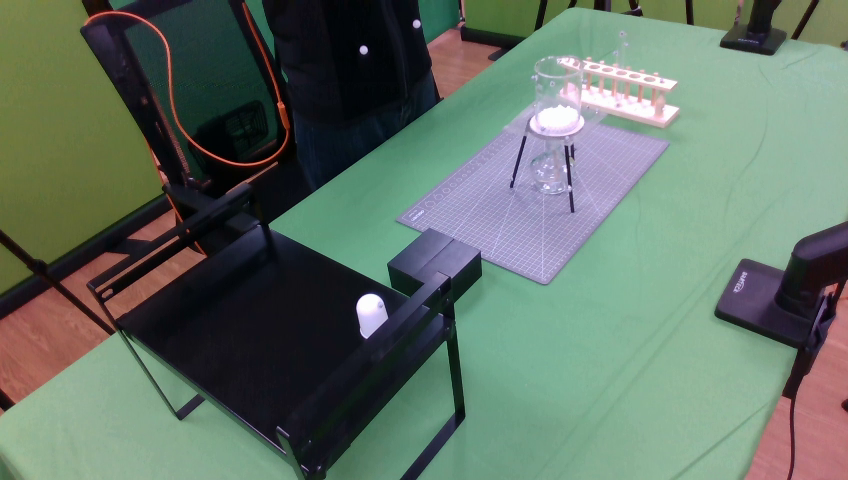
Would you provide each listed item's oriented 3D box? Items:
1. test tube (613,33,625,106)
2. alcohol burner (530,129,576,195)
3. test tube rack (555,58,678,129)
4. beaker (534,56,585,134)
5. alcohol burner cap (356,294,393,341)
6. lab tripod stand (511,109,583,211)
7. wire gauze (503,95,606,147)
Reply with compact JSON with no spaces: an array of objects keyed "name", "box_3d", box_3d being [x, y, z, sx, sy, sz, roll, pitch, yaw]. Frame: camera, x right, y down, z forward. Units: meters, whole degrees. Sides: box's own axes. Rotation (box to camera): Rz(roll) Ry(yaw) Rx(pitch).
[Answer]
[{"name":"test tube","box_3d":[0.380,-0.330,1.180,0.017,0.151,0.017,-7,41,6]},{"name":"alcohol burner","box_3d":[0.220,-0.137,1.028,0.078,0.119,0.077,-5,42,5]},{"name":"test tube rack","box_3d":[0.390,-0.307,1.229,0.240,0.085,0.067,25,50,33]},{"name":"beaker","box_3d":[0.209,-0.226,0.942,0.074,0.101,0.083,-2,41,7]},{"name":"alcohol burner cap","box_3d":[-0.051,0.074,0.601,0.034,0.048,0.033,-5,42,5]},{"name":"lab tripod stand","box_3d":[0.220,-0.138,1.014,0.148,0.132,0.147,-3,41,3]},{"name":"wire gauze","box_3d":[0.212,-0.191,0.976,0.120,0.011,0.125,24,52,32]}]
